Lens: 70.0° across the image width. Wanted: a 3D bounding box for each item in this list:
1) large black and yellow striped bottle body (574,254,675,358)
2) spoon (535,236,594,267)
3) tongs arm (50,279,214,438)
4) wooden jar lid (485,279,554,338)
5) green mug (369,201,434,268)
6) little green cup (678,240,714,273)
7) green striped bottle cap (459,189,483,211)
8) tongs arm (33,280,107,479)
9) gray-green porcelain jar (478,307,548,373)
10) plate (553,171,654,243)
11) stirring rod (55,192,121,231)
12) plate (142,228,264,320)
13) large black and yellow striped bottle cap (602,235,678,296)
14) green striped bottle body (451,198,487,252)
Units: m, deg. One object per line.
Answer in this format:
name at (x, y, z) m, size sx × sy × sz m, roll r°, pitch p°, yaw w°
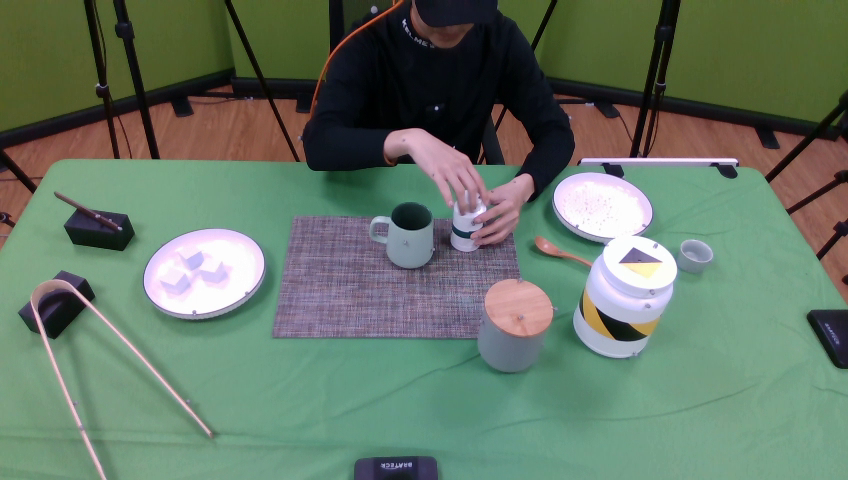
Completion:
large black and yellow striped bottle body at (0.335, 0.096, 1.014) m, size 0.131 × 0.185 × 0.130 m, roll 2°, pitch 46°, yaw -2°
spoon at (0.303, 0.040, 1.178) m, size 0.193 × 0.022 × 0.041 m, roll 25°, pitch 31°, yaw 19°
tongs arm at (-0.459, 0.178, 0.949) m, size 0.386 × 0.028 × 0.028 m, roll 37°, pitch 60°, yaw 17°
wooden jar lid at (0.147, 0.108, 0.940) m, size 0.108 × 0.021 × 0.107 m, roll 4°, pitch 47°, yaw -4°
green mug at (-0.042, -0.011, 1.141) m, size 0.125 × 0.105 × 0.092 m, roll 8°, pitch 47°, yaw 4°
little green cup at (0.531, 0.033, 1.189) m, size 0.061 × 0.039 × 0.061 m, roll 2°, pitch 46°, yaw -1°
green striped bottle cap at (0.088, -0.074, 1.128) m, size 0.044 × 0.020 × 0.044 m, roll 1°, pitch 45°, yaw -1°
tongs arm at (-0.517, 0.214, 0.910) m, size 0.051 × 0.026 × 0.383 m, roll -29°, pitch 63°, yaw -27°
gray-green porcelain jar at (0.144, 0.148, 0.989) m, size 0.106 × 0.127 × 0.105 m, roll 2°, pitch 50°, yaw -2°
plate at (0.374, -0.066, 1.275) m, size 0.209 × 0.038 × 0.208 m, roll 2°, pitch 46°, yaw -2°
stirring rod at (-0.632, -0.055, 1.138) m, size 0.175 × 0.014 × 0.006 m, roll 24°, pitch 50°, yaw 19°
plate at (-0.394, 0.064, 1.095) m, size 0.208 × 0.039 × 0.206 m, roll 2°, pitch 46°, yaw -2°
large black and yellow striped bottle cap at (0.340, 0.037, 0.955) m, size 0.115 × 0.019 × 0.114 m, roll 2°, pitch 47°, yaw -2°
green striped bottle body at (0.087, -0.039, 1.166) m, size 0.063 × 0.120 × 0.063 m, roll 2°, pitch 46°, yaw -2°
